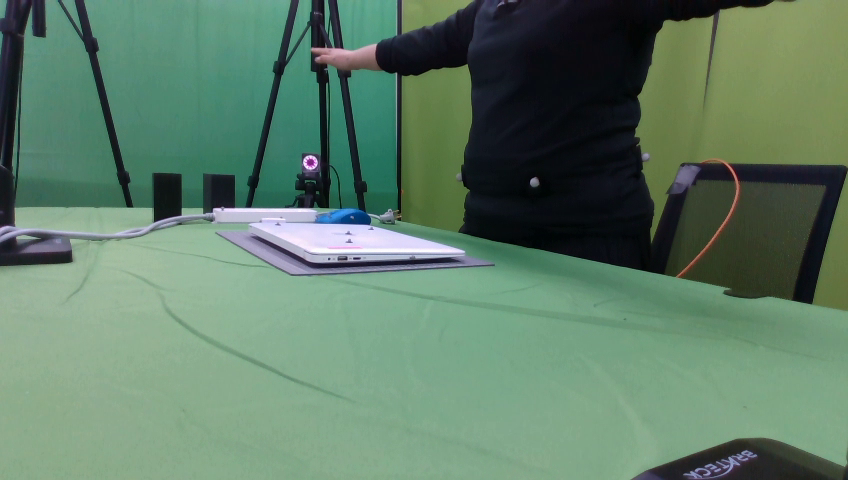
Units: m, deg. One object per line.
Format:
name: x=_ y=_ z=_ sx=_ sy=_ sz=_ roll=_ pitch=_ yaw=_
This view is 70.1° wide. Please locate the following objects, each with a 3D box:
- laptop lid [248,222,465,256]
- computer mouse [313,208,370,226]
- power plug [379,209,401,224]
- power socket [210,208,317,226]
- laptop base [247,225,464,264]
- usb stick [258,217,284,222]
laptop lid: x=-0.122 y=-0.005 z=0.955 sx=0.243 sy=0.013 sz=0.355 roll=1 pitch=7 yaw=-28
computer mouse: x=-0.175 y=-0.047 z=1.292 sx=0.118 sy=0.041 sz=0.062 roll=-7 pitch=14 yaw=-34
power plug: x=-0.081 y=-0.060 z=1.421 sx=0.053 sy=0.035 sz=0.072 roll=-15 pitch=19 yaw=-4
power socket: x=-0.335 y=-0.051 z=1.281 sx=0.228 sy=0.032 sz=0.072 roll=-2 pitch=9 yaw=-29
laptop base: x=-0.125 y=0.006 z=0.955 sx=0.237 sy=0.023 sz=0.352 roll=2 pitch=6 yaw=-30
usb stick: x=-0.291 y=-0.028 z=1.118 sx=0.059 sy=0.027 sz=0.021 roll=-4 pitch=12 yaw=-29
